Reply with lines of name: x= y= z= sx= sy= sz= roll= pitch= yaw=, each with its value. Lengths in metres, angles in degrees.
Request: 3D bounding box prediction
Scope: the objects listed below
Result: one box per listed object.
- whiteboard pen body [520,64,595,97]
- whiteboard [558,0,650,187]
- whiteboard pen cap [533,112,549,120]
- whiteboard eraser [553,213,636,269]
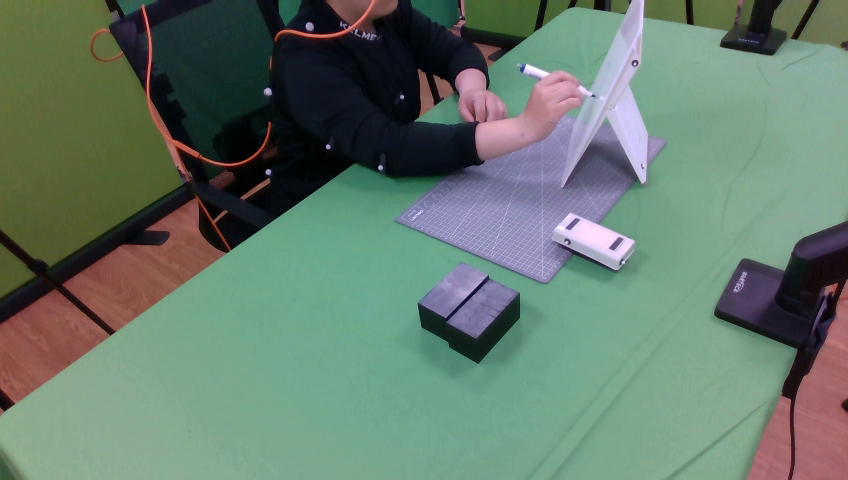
whiteboard pen body: x=0.231 y=-0.271 z=1.037 sx=0.141 sy=0.017 sz=0.017 roll=19 pitch=42 yaw=-7
whiteboard: x=0.362 y=-0.238 z=1.026 sx=0.144 sy=0.306 sz=0.217 roll=21 pitch=45 yaw=4
whiteboard pen cap: x=0.239 y=-0.254 z=1.238 sx=0.018 sy=0.018 sz=0.033 roll=-29 pitch=27 yaw=-23
whiteboard eraser: x=0.258 y=0.003 z=0.918 sx=0.112 sy=0.042 sz=0.056 roll=27 pitch=49 yaw=30
